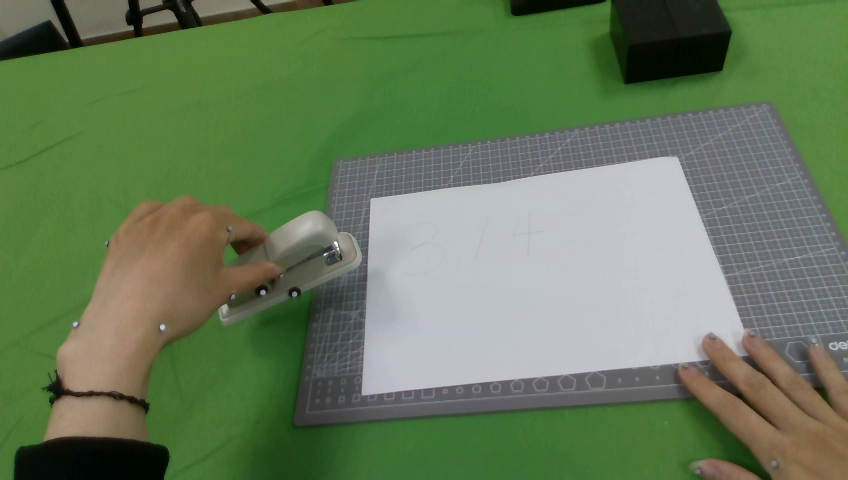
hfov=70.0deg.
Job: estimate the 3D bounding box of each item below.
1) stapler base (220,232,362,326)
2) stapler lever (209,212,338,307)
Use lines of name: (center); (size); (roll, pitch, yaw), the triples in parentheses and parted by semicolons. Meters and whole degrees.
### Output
stapler base: (-0.119, 0.027, 0.517); (0.130, 0.025, 0.041); (-25, 54, -1)
stapler lever: (-0.126, 0.015, 0.496); (0.118, 0.040, 0.026); (-25, 53, -1)
